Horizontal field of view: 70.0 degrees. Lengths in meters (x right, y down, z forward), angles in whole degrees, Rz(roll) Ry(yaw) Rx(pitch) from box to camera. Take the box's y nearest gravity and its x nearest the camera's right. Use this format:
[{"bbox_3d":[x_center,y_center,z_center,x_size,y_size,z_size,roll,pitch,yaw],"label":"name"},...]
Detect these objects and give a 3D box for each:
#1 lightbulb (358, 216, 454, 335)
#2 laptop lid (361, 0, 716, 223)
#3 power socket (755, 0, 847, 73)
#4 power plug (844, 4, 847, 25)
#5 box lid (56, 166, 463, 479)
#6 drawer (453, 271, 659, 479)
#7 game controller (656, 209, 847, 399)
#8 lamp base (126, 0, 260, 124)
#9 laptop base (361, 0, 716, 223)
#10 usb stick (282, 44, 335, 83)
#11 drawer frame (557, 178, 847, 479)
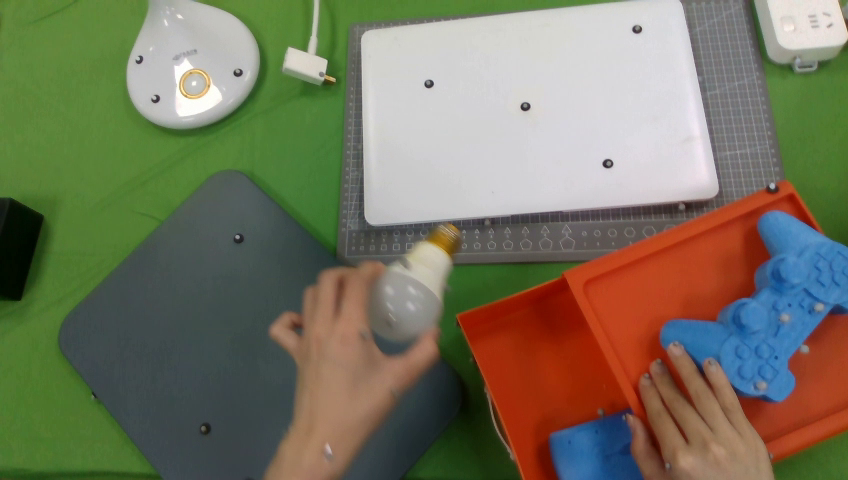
[{"bbox_3d":[-0.009,0.024,0.471,0.059,0.060,0.107,25,64,15],"label":"lightbulb"},{"bbox_3d":[0.107,-0.140,0.635,0.356,0.013,0.240,-2,74,6],"label":"laptop lid"},{"bbox_3d":[0.396,-0.287,0.656,0.072,0.033,0.225,-2,71,5],"label":"power socket"},{"bbox_3d":[0.469,-0.241,0.629,0.073,0.053,0.035,-21,65,-19],"label":"power plug"},{"bbox_3d":[-0.173,0.113,0.601,0.369,0.015,0.263,41,81,16],"label":"box lid"},{"bbox_3d":[0.156,0.119,0.526,0.212,0.074,0.193,-21,70,0],"label":"drawer"},{"bbox_3d":[0.269,0.051,0.476,0.155,0.052,0.096,-45,76,-6],"label":"game controller"},{"bbox_3d":[-0.285,-0.243,0.642,0.160,0.181,0.177,-29,68,-3],"label":"lamp base"},{"bbox_3d":[0.109,-0.138,0.647,0.354,0.023,0.234,-4,75,5],"label":"laptop base"},{"bbox_3d":[-0.127,-0.196,0.682,0.059,0.021,0.027,18,76,-22],"label":"usb stick"},{"bbox_3d":[0.250,0.081,0.523,0.213,0.083,0.200,-23,70,0],"label":"drawer frame"}]
